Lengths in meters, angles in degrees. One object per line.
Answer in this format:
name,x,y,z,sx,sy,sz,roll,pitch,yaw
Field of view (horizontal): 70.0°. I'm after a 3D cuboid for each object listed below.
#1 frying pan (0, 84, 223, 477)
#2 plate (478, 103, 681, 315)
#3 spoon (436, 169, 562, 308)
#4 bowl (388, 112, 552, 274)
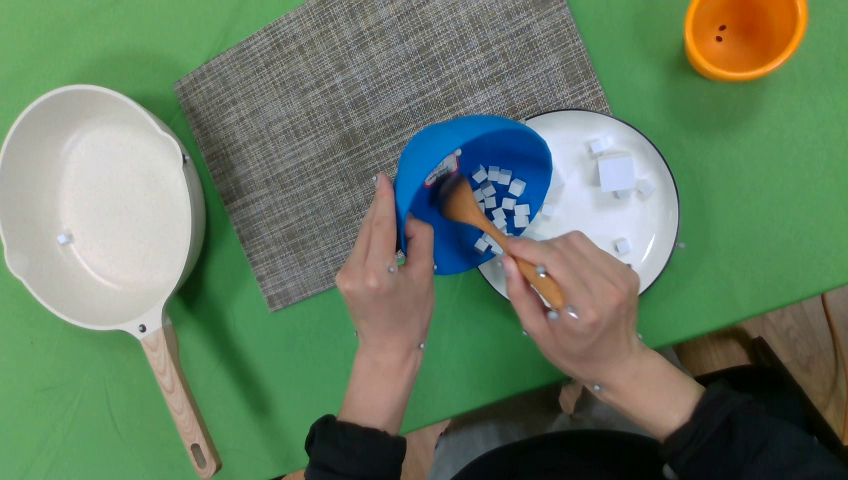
frying pan,-0.350,0.054,0.732,0.306,0.103,0.486,-27,81,19
plate,0.143,-0.029,0.604,0.207,0.039,0.208,3,101,16
spoon,0.052,-0.006,0.461,0.042,0.022,0.191,-59,38,15
bowl,0.026,-0.052,0.519,0.151,0.153,0.076,-52,52,17
